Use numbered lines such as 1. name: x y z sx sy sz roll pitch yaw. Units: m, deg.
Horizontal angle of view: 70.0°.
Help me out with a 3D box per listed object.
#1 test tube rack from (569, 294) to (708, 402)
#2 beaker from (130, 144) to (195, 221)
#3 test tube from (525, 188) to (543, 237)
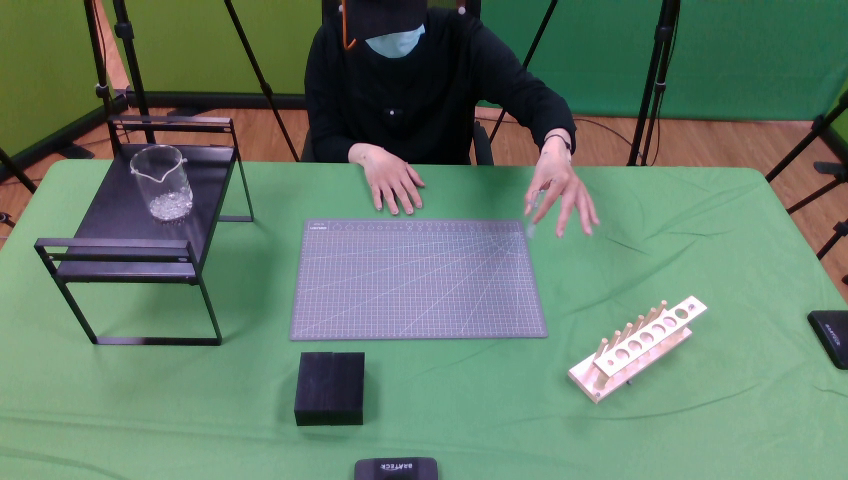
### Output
1. test tube rack: 0.360 0.167 1.014 0.242 0.085 0.066 -25 53 -25
2. beaker: -0.403 -0.085 0.944 0.074 0.101 0.083 -15 50 -17
3. test tube: 0.187 -0.044 1.036 0.017 0.151 0.017 -1 63 3
